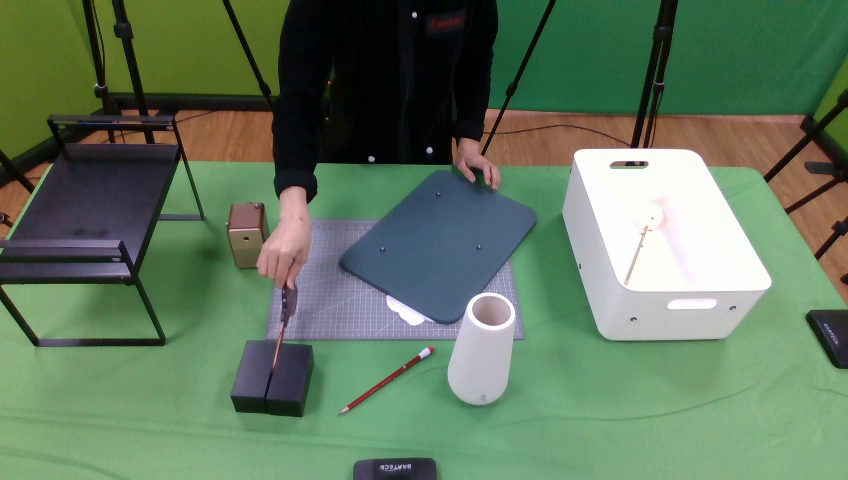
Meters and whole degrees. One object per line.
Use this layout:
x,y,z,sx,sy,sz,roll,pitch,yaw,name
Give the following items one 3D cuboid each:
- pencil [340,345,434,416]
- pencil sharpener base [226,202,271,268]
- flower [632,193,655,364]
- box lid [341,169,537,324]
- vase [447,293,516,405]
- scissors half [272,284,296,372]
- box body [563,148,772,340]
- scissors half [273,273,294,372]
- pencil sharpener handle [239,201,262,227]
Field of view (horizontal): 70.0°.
-0.058,0.228,0.984,0.194,0.012,0.012,-32,56,-28,pencil
-0.323,-0.010,1.123,0.061,0.107,0.076,-3,46,-7,pencil sharpener base
0.422,0.068,1.187,0.038,0.044,0.360,21,65,-18,flower
0.038,-0.004,1.210,0.262,0.015,0.371,27,49,21,box lid
0.091,0.169,0.921,0.098,0.201,0.097,3,47,-3,vase
-0.230,0.143,0.998,0.013,0.040,0.174,0,43,3,scissors half
0.421,0.003,1.130,0.254,0.161,0.361,0,46,-5,box body
-0.230,0.131,0.982,0.013,0.040,0.174,3,61,-1,scissors half
-0.325,-0.055,1.150,0.036,0.068,0.030,-13,46,4,pencil sharpener handle
